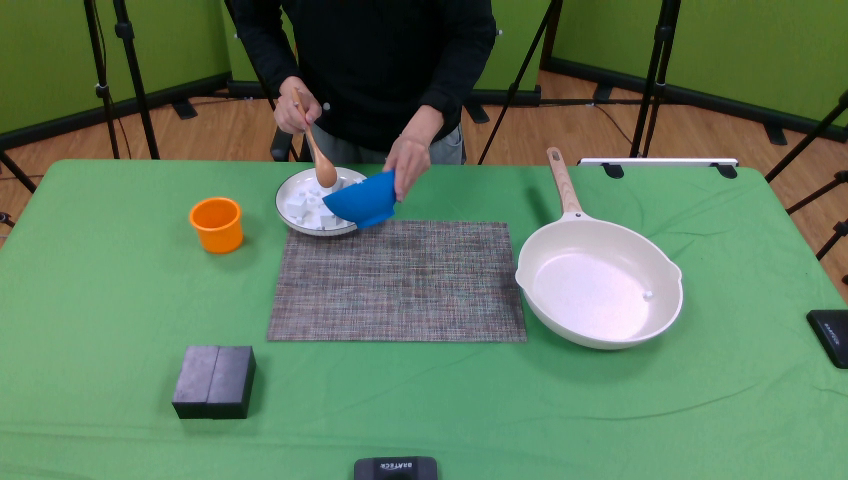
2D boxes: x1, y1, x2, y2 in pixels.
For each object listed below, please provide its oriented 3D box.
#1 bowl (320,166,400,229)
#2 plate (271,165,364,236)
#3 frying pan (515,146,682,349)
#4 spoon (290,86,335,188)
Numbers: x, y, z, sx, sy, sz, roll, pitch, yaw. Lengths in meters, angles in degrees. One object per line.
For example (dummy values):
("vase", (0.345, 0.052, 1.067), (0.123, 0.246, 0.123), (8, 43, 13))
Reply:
("bowl", (-0.103, -0.070, 1.092), (0.151, 0.077, 0.151), (-21, 10, 4))
("plate", (-0.204, -0.076, 1.240), (0.208, 0.039, 0.206), (3, 44, -2))
("frying pan", (0.303, -0.004, 1.168), (0.307, 0.103, 0.484), (-2, 55, -7))
("spoon", (-0.212, -0.190, 1.128), (0.041, 0.194, 0.021), (-24, 10, -21))
